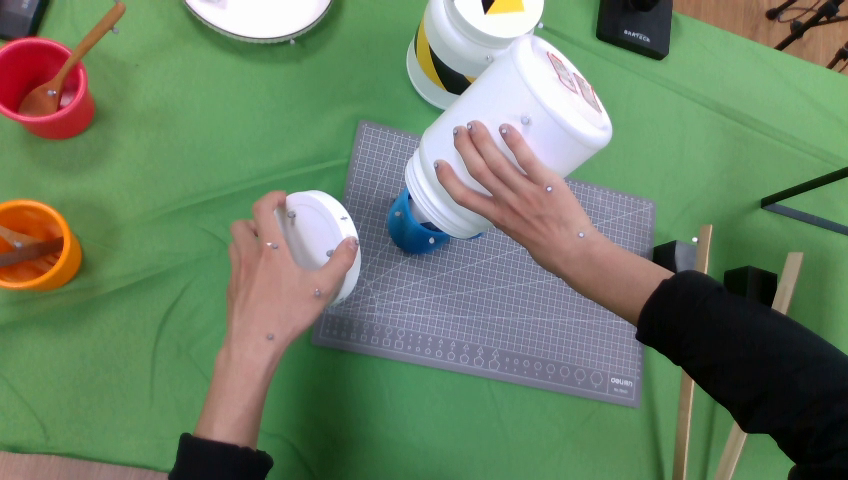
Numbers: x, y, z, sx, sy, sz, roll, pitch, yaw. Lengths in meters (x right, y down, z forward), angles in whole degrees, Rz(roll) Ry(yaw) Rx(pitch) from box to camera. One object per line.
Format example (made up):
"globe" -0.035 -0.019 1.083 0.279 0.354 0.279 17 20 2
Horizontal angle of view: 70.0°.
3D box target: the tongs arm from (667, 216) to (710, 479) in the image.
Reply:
"tongs arm" 0.362 0.162 0.805 0.051 0.026 0.384 9 89 -16

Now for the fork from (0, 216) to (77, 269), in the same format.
"fork" -0.439 -0.030 0.597 0.210 0.018 0.028 49 62 -48

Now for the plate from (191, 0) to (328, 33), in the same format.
"plate" -0.217 -0.359 0.782 0.208 0.039 0.206 3 79 -15

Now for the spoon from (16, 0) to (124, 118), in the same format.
"spoon" -0.380 -0.197 0.649 0.194 0.021 0.041 -35 85 25

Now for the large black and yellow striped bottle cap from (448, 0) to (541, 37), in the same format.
"large black and yellow striped bottle cap" 0.079 -0.287 0.685 0.115 0.019 0.114 3 79 -16

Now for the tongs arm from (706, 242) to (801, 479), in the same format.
"tongs arm" 0.440 0.181 0.825 0.028 0.027 0.387 23 85 -18

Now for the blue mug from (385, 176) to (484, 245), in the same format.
"blue mug" 0.017 -0.038 0.746 0.117 0.106 0.082 21 74 -11

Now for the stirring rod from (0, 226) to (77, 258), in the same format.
"stirring rod" -0.425 0.012 0.599 0.014 0.006 0.176 59 29 -1

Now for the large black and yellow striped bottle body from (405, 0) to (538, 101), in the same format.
"large black and yellow striped bottle body" 0.058 -0.268 0.764 0.131 0.184 0.130 3 78 -15

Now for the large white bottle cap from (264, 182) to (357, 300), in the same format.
"large white bottle cap" -0.112 0.002 0.586 0.018 0.114 0.114 -12 81 -54

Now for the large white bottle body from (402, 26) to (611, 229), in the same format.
"large white bottle body" 0.076 -0.104 0.612 0.132 0.185 0.129 31 38 -28
